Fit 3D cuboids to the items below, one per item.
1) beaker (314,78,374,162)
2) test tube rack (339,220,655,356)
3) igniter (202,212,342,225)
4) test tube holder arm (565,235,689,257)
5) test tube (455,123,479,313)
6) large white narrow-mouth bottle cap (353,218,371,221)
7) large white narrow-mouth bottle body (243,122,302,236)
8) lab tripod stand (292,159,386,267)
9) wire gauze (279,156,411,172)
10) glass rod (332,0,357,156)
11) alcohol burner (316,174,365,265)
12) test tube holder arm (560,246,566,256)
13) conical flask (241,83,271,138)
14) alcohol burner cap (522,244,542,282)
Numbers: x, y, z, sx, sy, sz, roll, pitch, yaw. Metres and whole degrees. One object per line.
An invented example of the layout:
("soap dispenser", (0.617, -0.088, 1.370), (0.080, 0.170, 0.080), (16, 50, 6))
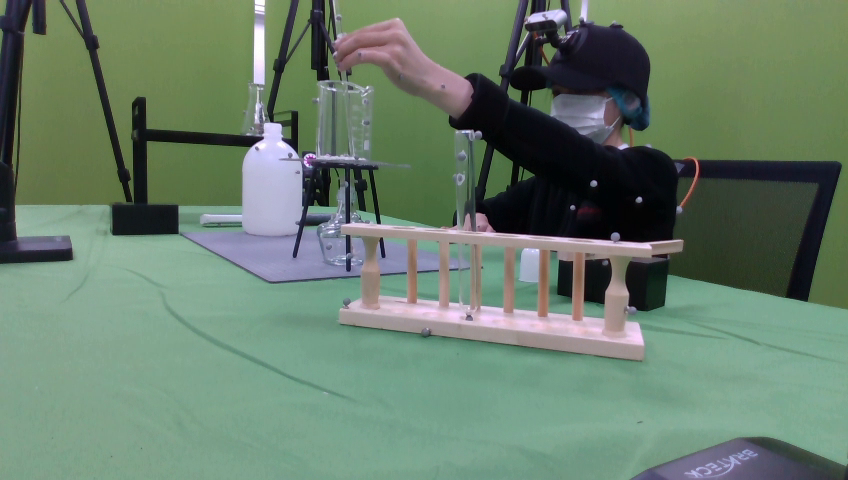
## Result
("beaker", (-0.101, -0.150, 0.773), (0.074, 0.100, 0.083), (-2, 8, -40))
("test tube rack", (0.056, 0.032, 0.495), (0.242, 0.085, 0.067), (4, 7, 15))
("igniter", (-0.298, -0.043, 1.216), (0.278, 0.025, 0.057), (-3, -2, -32))
("test tube holder arm", (0.216, 0.006, 0.629), (0.179, 0.015, 0.013), (-3, 11, -30))
("test tube", (0.034, -0.016, 0.476), (0.017, 0.150, 0.017), (-2, 9, 1))
("large white narrow-mouth bottle cap", (-0.121, -0.029, 1.184), (0.038, 0.024, 0.037), (2, 8, 0))
("large white narrow-mouth bottle body", (-0.264, -0.109, 1.061), (0.102, 0.194, 0.102), (2, 8, 0))
("lab tripod stand", (-0.105, -0.039, 0.797), (0.148, 0.131, 0.148), (2, 5, 0))
("wire gauze", (-0.103, -0.103, 0.785), (0.121, 0.011, 0.126), (11, 8, 42))
("glass rod", (-0.098, -0.203, 0.746), (0.008, 0.199, 0.008), (-7, 9, 1))
("alcohol burner", (-0.102, -0.028, 0.790), (0.078, 0.119, 0.078), (0, 6, 0))
("test tube holder arm", (0.173, 0.007, 0.611), (0.088, 0.015, 0.010), (-3, 11, -29))
("conical flask", (-0.384, -0.297, 1.393), (0.075, 0.122, 0.075), (2, 7, 0))
("alcohol burner cap", (0.136, 0.026, 0.740), (0.034, 0.048, 0.034), (1, 6, 0))
